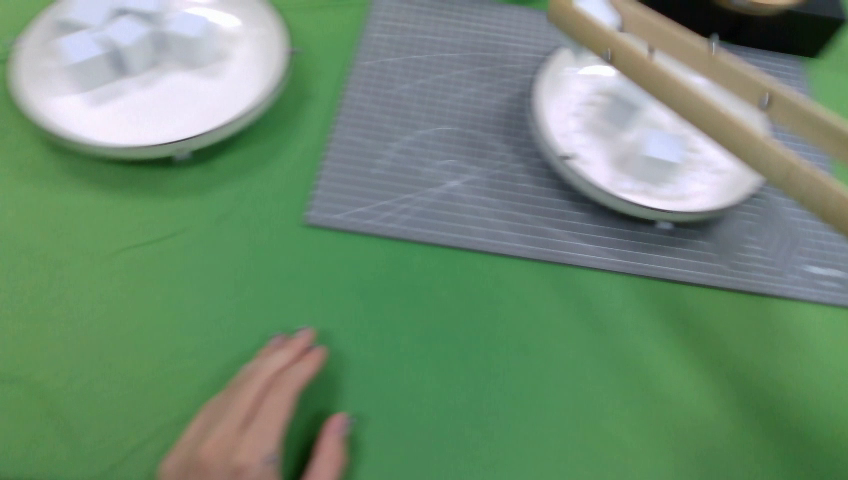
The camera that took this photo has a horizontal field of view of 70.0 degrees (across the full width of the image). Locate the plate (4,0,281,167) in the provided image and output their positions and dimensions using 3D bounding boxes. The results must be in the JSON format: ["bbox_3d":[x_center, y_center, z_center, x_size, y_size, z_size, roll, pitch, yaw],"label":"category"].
[{"bbox_3d":[-0.224,-0.138,0.503,0.208,0.039,0.205,4,57,-5],"label":"plate"}]

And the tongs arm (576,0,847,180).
[{"bbox_3d":[0.235,-0.062,0.392,0.051,0.027,0.381,-33,60,-27],"label":"tongs arm"}]

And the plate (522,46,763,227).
[{"bbox_3d":[0.185,-0.094,0.528,0.209,0.038,0.207,4,57,-5],"label":"plate"}]

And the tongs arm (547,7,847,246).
[{"bbox_3d":[0.217,-0.052,0.383,0.028,0.028,0.383,-27,57,-28],"label":"tongs arm"}]

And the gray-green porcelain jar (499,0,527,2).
[{"bbox_3d":[0.093,-0.317,0.609,0.106,0.127,0.105,3,56,-5],"label":"gray-green porcelain jar"}]

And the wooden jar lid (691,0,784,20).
[{"bbox_3d":[0.304,-0.256,0.603,0.108,0.021,0.107,4,58,-6],"label":"wooden jar lid"}]
